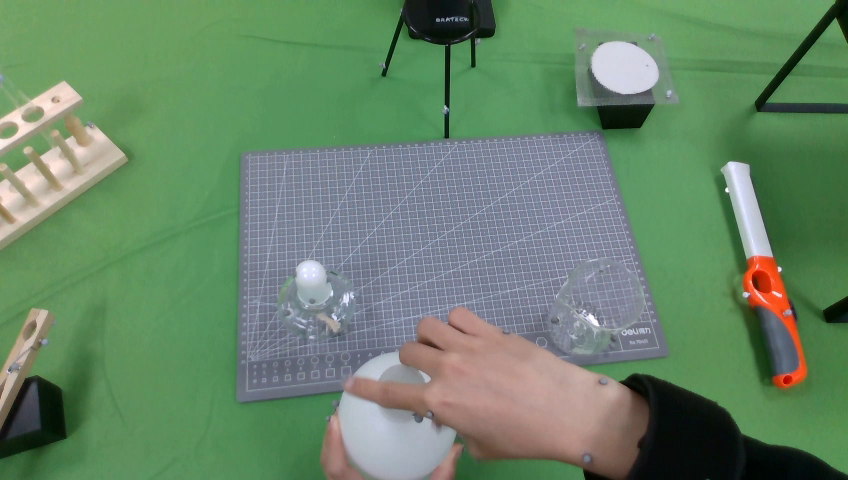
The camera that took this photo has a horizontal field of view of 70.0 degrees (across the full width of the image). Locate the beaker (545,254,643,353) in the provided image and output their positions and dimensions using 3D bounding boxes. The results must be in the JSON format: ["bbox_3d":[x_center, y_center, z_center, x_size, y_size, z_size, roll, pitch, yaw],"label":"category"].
[{"bbox_3d":[0.163,0.069,0.611,0.084,0.101,0.073,-3,63,-4],"label":"beaker"}]

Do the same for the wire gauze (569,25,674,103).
[{"bbox_3d":[0.244,-0.220,0.759,0.121,0.011,0.124,2,63,-3],"label":"wire gauze"}]

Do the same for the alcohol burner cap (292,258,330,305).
[{"bbox_3d":[-0.106,0.036,0.560,0.034,0.048,0.033,1,59,-1],"label":"alcohol burner cap"}]

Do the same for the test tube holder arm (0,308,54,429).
[{"bbox_3d":[-0.371,0.144,0.532,0.013,0.015,0.177,7,64,6],"label":"test tube holder arm"}]

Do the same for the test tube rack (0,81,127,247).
[{"bbox_3d":[-0.452,-0.057,0.639,0.066,0.086,0.242,41,68,15],"label":"test tube rack"}]

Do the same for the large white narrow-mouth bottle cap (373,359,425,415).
[{"bbox_3d":[-0.018,0.103,0.425,0.038,0.024,0.037,2,63,-3],"label":"large white narrow-mouth bottle cap"}]

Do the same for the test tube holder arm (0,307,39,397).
[{"bbox_3d":[-0.370,0.104,0.552,0.010,0.015,0.087,6,64,5],"label":"test tube holder arm"}]

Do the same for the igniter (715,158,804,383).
[{"bbox_3d":[0.380,0.026,0.691,0.057,0.025,0.274,6,63,-13],"label":"igniter"}]

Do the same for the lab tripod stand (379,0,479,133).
[{"bbox_3d":[0.015,-0.225,0.730,0.148,0.132,0.147,2,64,-5],"label":"lab tripod stand"}]

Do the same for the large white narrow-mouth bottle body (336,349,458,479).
[{"bbox_3d":[-0.023,0.148,0.509,0.102,0.196,0.101,2,63,-3],"label":"large white narrow-mouth bottle body"}]

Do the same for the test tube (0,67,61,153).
[{"bbox_3d":[-0.415,-0.138,0.627,0.017,0.151,0.017,0,62,0],"label":"test tube"}]

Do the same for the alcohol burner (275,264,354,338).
[{"bbox_3d":[-0.108,0.052,0.592,0.078,0.120,0.077,3,62,-5],"label":"alcohol burner"}]
